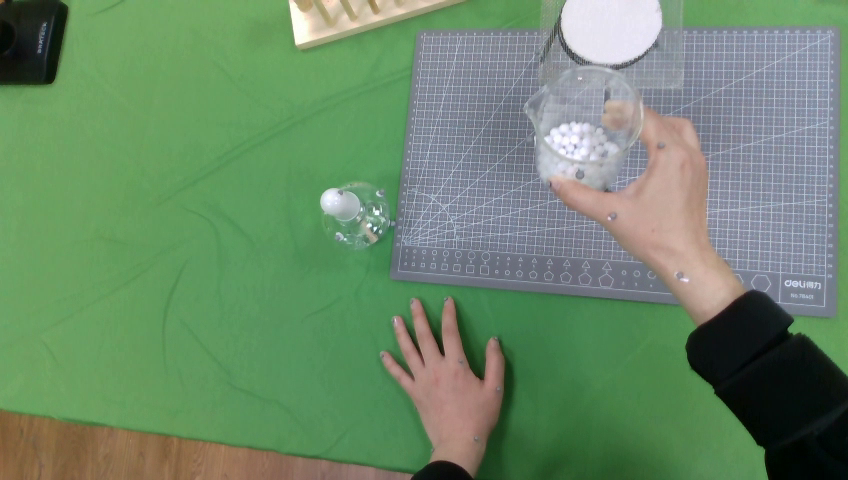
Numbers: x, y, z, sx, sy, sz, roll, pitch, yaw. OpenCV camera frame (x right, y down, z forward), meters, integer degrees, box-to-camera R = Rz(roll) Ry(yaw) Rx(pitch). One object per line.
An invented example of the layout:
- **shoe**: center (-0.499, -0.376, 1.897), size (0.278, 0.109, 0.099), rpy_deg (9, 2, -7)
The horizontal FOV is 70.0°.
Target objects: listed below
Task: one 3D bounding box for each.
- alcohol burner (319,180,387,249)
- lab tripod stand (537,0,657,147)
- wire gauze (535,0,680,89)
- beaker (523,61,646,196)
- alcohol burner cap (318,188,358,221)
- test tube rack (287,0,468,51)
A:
- **alcohol burner**: center (-0.081, -0.031, 0.650), size (0.078, 0.120, 0.077), rpy_deg (-2, 78, 11)
- **lab tripod stand**: center (0.178, -0.182, 0.602), size (0.148, 0.132, 0.148), rpy_deg (-2, 82, 11)
- **wire gauze**: center (0.163, -0.193, 0.537), size (0.125, 0.011, 0.121), rpy_deg (3, 84, 13)
- **beaker**: center (0.118, -0.079, 0.465), size (0.084, 0.101, 0.074), rpy_deg (13, 80, 12)
- **alcohol burner cap**: center (-0.090, -0.038, 0.616), size (0.034, 0.048, 0.034), rpy_deg (-1, 84, 12)
- **test tube rack**: center (-0.057, -0.301, 0.702), size (0.242, 0.085, 0.066), rpy_deg (-13, 78, 10)
